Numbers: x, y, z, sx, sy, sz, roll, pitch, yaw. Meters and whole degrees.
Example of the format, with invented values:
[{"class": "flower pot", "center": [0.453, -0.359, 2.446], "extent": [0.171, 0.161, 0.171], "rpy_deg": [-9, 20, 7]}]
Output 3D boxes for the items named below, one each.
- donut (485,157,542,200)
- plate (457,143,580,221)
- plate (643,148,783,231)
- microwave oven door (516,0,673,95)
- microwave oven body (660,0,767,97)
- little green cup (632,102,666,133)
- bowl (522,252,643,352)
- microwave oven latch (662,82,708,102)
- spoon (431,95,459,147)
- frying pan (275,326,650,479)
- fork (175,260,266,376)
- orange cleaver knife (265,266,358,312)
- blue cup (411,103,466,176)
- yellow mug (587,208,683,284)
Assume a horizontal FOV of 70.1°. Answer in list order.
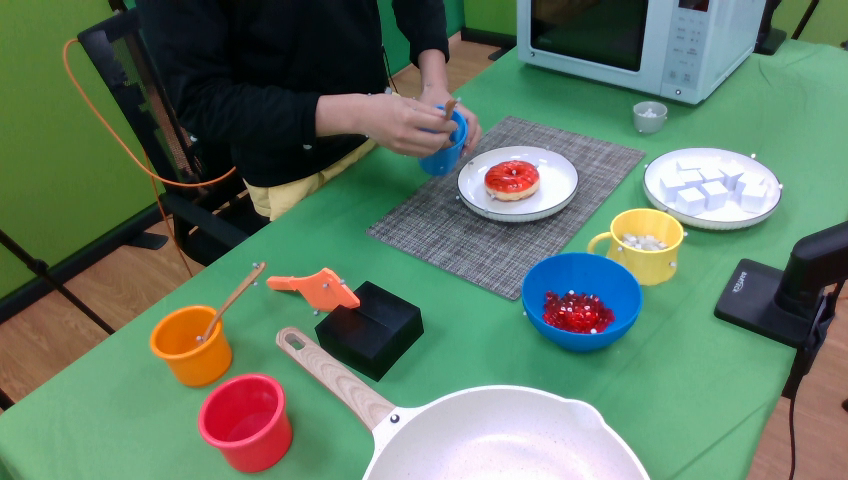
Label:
[{"class": "donut", "center": [0.153, -0.108, 1.039], "extent": [0.099, 0.048, 0.098], "rpy_deg": [-6, 37, 5]}, {"class": "plate", "center": [0.161, -0.097, 1.042], "extent": [0.209, 0.038, 0.208], "rpy_deg": [-4, 40, 4]}, {"class": "plate", "center": [0.464, -0.080, 0.985], "extent": [0.207, 0.039, 0.206], "rpy_deg": [-4, 41, 4]}, {"class": "microwave oven door", "center": [0.344, -0.458, 1.256], "extent": [0.353, 0.245, 0.039], "rpy_deg": [26, 51, 33]}, {"class": "microwave oven body", "center": [0.473, -0.516, 1.313], "extent": [0.438, 0.261, 0.327], "rpy_deg": [26, 51, 34]}, {"class": "little green cup", "center": [0.434, -0.237, 1.171], "extent": [0.061, 0.039, 0.061], "rpy_deg": [-5, 40, 5]}, {"class": "bowl", "center": [0.204, 0.093, 0.792], "extent": [0.151, 0.077, 0.150], "rpy_deg": [-4, 40, 4]}, {"class": "microwave oven latch", "center": [0.518, -0.298, 1.203], "extent": [0.078, 0.029, 0.030], "rpy_deg": [29, 53, 36]}, {"class": "spoon", "center": [0.030, -0.165, 0.869], "extent": [0.042, 0.194, 0.021], "rpy_deg": [-4, 75, -5]}, {"class": "frying pan", "center": [0.003, 0.229, 0.641], "extent": [0.484, 0.103, 0.308], "rpy_deg": [34, 54, 28]}, {"class": "fork", "center": [-0.268, 0.103, 0.792], "extent": [0.207, 0.019, 0.028], "rpy_deg": [-51, 41, 16]}, {"class": "orange cleaver knife", "center": [-0.164, 0.073, 0.864], "extent": [0.210, 0.077, 0.012], "rpy_deg": [-6, 30, 50]}, {"class": "blue cup", "center": [0.025, -0.153, 0.977], "extent": [0.092, 0.100, 0.092], "rpy_deg": [-1, 66, 2]}, {"class": "yellow mug", "center": [0.305, 0.009, 0.884], "extent": [0.131, 0.064, 0.099], "rpy_deg": [-4, 41, 5]}]
